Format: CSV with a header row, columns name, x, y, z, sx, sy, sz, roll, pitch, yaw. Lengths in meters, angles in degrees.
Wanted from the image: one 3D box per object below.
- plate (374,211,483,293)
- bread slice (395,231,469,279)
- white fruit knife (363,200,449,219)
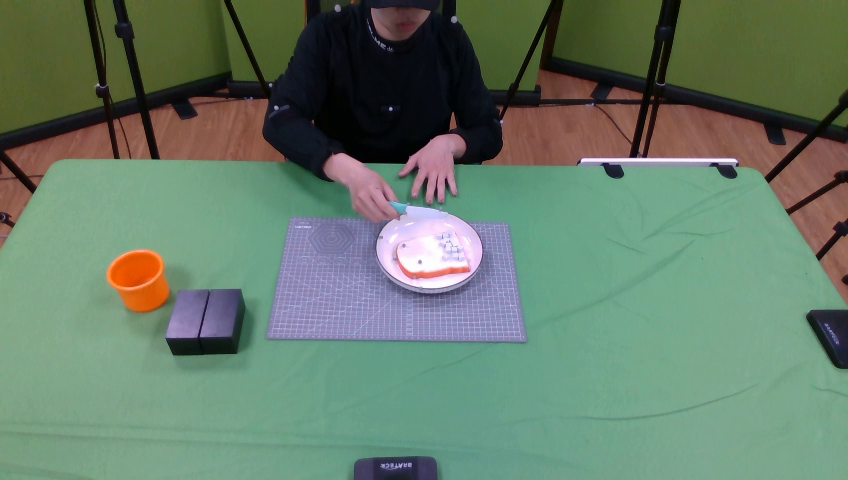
name,x,y,z,sx,sy,sz,roll,pitch,yaw
plate,0.009,0.024,1.160,0.209,0.038,0.208,2,46,-2
bread slice,0.011,0.030,1.158,0.132,0.019,0.104,-9,47,-14
white fruit knife,-0.037,-0.056,1.115,0.206,0.027,0.016,8,25,37
